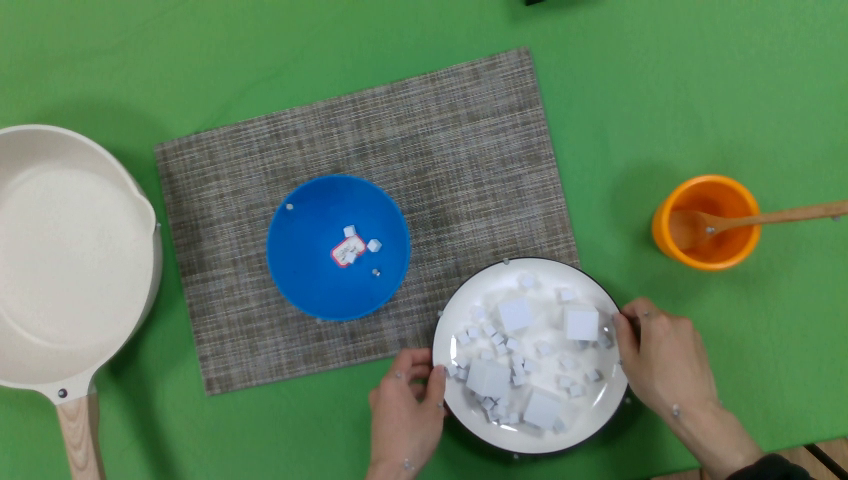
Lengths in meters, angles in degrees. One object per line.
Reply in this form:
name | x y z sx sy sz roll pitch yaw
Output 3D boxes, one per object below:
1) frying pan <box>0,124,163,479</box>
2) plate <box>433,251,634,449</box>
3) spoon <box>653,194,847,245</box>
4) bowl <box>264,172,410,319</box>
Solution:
frying pan | -0.402 0.116 0.673 0.307 0.103 0.485 -18 79 6
plate | 0.114 0.115 0.648 0.207 0.039 0.207 0 92 6
spoon | 0.310 -0.023 0.575 0.022 0.193 0.041 -7 88 -38
bowl | -0.085 0.007 0.649 0.151 0.077 0.151 0 89 6
